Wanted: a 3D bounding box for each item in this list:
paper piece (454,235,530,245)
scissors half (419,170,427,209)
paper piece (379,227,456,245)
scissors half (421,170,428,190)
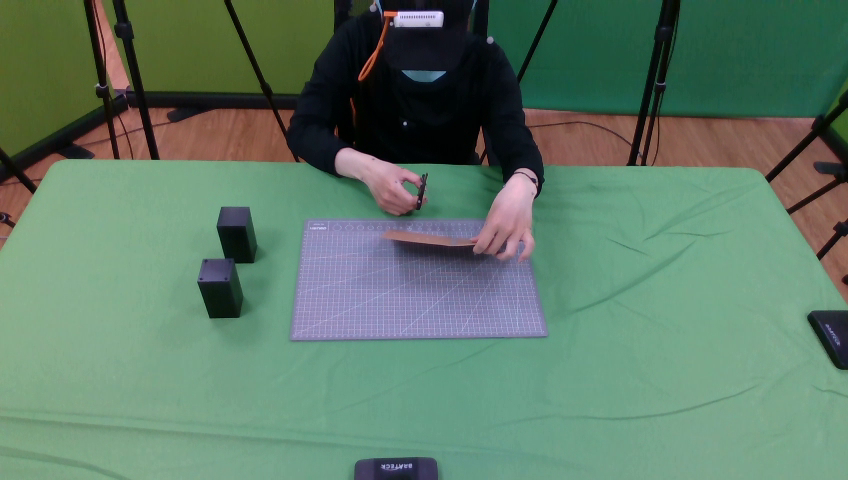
[{"bbox_3d":[0.126,-0.002,1.146,0.138,0.008,0.136,-2,9,5],"label":"paper piece"},{"bbox_3d":[-0.002,-0.100,1.170,0.013,0.176,0.040,10,71,1],"label":"scissors half"},{"bbox_3d":[-0.008,-0.010,1.152,0.136,0.004,0.135,8,8,4],"label":"paper piece"},{"bbox_3d":[0.001,-0.119,1.174,0.013,0.175,0.040,5,88,0],"label":"scissors half"}]
